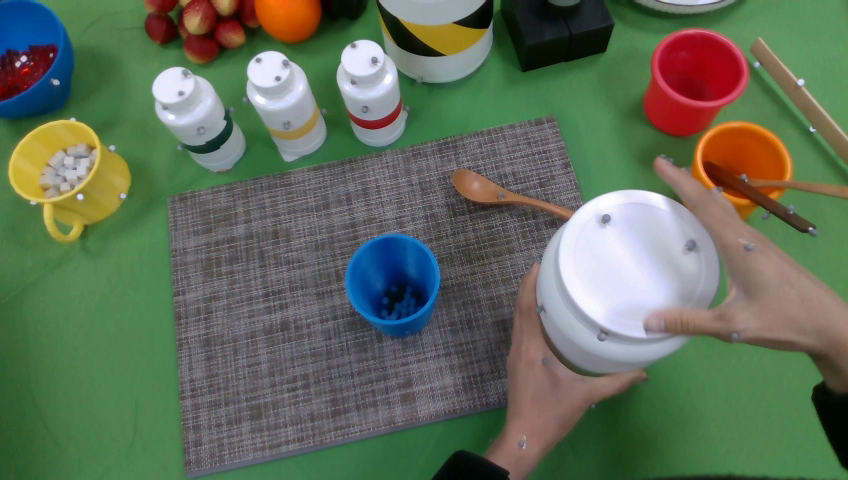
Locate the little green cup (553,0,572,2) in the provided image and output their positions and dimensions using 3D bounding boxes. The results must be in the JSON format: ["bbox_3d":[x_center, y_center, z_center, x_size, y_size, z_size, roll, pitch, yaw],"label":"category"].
[{"bbox_3d":[0.157,-0.300,0.678,0.061,0.039,0.061,-1,68,2],"label":"little green cup"}]

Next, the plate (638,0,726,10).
[{"bbox_3d":[0.310,-0.365,0.747,0.209,0.038,0.207,-1,70,3],"label":"plate"}]

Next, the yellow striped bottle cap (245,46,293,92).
[{"bbox_3d":[-0.154,-0.170,0.603,0.044,0.019,0.044,-1,71,2],"label":"yellow striped bottle cap"}]

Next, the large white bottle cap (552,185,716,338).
[{"bbox_3d":[0.152,0.014,0.444,0.115,0.018,0.114,-1,70,3],"label":"large white bottle cap"}]

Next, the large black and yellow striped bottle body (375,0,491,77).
[{"bbox_3d":[0.008,-0.281,0.656,0.131,0.185,0.130,-1,70,3],"label":"large black and yellow striped bottle body"}]

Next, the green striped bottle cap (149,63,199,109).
[{"bbox_3d":[-0.248,-0.153,0.602,0.044,0.020,0.044,-1,69,2],"label":"green striped bottle cap"}]

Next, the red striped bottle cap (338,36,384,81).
[{"bbox_3d":[-0.063,-0.180,0.601,0.044,0.018,0.044,0,68,0],"label":"red striped bottle cap"}]

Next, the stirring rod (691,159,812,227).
[{"bbox_3d":[0.307,-0.049,0.580,0.014,0.006,0.174,-10,26,-3],"label":"stirring rod"}]

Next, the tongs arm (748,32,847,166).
[{"bbox_3d":[0.477,-0.078,0.634,0.051,0.027,0.382,-24,71,-8],"label":"tongs arm"}]

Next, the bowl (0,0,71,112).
[{"bbox_3d":[-0.479,-0.206,0.712,0.151,0.077,0.150,-1,70,2],"label":"bowl"}]

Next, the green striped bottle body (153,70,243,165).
[{"bbox_3d":[-0.244,-0.135,0.651,0.063,0.120,0.063,-1,69,3],"label":"green striped bottle body"}]

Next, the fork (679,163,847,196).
[{"bbox_3d":[0.337,-0.054,0.573,0.028,0.019,0.205,-48,30,-15],"label":"fork"}]

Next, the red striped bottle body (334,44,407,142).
[{"bbox_3d":[-0.058,-0.161,0.650,0.063,0.120,0.062,-3,68,7],"label":"red striped bottle body"}]

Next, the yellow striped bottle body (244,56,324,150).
[{"bbox_3d":[-0.151,-0.152,0.651,0.063,0.121,0.062,-1,69,4],"label":"yellow striped bottle body"}]

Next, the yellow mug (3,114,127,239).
[{"bbox_3d":[-0.392,-0.064,0.661,0.100,0.064,0.130,-2,70,1],"label":"yellow mug"}]

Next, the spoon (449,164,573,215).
[{"bbox_3d":[0.118,-0.041,0.644,0.193,0.022,0.041,18,47,9],"label":"spoon"}]

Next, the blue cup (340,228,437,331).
[{"bbox_3d":[-0.029,0.047,0.578,0.092,0.101,0.092,-1,69,2],"label":"blue cup"}]

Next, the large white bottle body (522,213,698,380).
[{"bbox_3d":[0.158,0.044,0.523,0.130,0.186,0.129,-1,69,3],"label":"large white bottle body"}]
